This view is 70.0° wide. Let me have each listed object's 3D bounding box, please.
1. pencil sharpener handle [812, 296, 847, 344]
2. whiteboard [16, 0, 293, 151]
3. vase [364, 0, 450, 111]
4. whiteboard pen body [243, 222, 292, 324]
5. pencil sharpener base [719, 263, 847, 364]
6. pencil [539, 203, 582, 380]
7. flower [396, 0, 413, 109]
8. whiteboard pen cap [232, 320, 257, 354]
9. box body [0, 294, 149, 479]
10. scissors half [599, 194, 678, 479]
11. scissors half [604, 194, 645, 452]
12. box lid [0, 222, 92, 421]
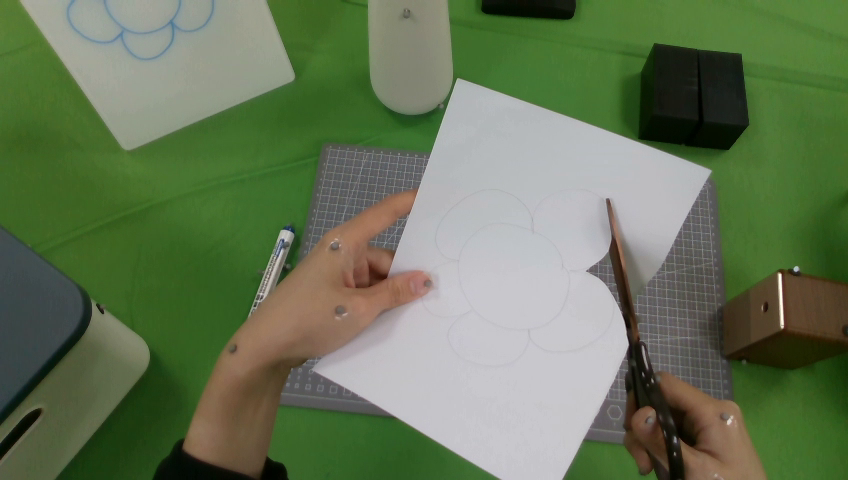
[{"bbox_3d":[0.389,0.078,0.557,0.030,0.068,0.035,10,61,1],"label":"pencil sharpener handle"},{"bbox_3d":[-0.309,-0.292,0.649,0.217,0.308,0.142,-27,50,-10],"label":"whiteboard"},{"bbox_3d":[-0.020,-0.229,0.647,0.098,0.201,0.097,0,65,1],"label":"vase"},{"bbox_3d":[-0.165,0.044,0.628,0.017,0.017,0.140,12,66,6],"label":"whiteboard pen body"},{"bbox_3d":[0.339,0.073,0.569,0.077,0.107,0.061,10,66,1],"label":"pencil sharpener base"},{"bbox_3d":[0.143,0.049,0.630,0.012,0.012,0.192,-7,69,-3],"label":"pencil"},{"bbox_3d":[-0.026,-0.275,0.577,0.044,0.365,0.038,-1,49,3],"label":"flower"},{"bbox_3d":[-0.177,0.096,0.604,0.018,0.018,0.033,11,63,5],"label":"whiteboard pen cap"},{"bbox_3d":[-0.470,0.083,0.533,0.362,0.161,0.253,31,71,12],"label":"box body"},{"bbox_3d":[0.124,0.058,0.353,0.013,0.040,0.174,-12,85,5],"label":"scissors half"},{"bbox_3d":[0.126,0.055,0.375,0.013,0.040,0.176,-12,110,10],"label":"scissors half"},{"bbox_3d":[-0.472,0.052,0.465,0.370,0.015,0.262,31,70,12],"label":"box lid"}]
